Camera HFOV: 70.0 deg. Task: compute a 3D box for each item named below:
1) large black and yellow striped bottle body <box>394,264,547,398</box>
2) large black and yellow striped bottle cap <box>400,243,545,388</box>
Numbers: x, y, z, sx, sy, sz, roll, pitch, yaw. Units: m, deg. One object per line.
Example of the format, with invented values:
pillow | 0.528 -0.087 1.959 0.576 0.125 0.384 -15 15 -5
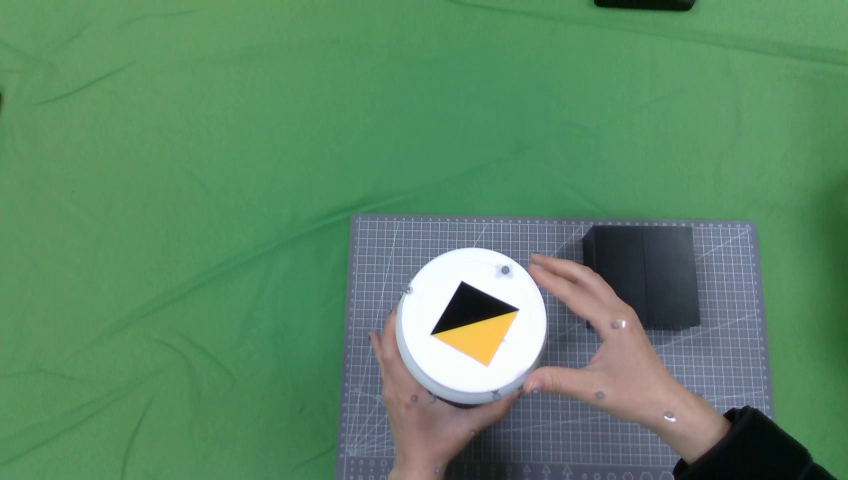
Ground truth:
large black and yellow striped bottle body | 0.041 0.080 0.560 0.131 0.185 0.130 0 76 2
large black and yellow striped bottle cap | 0.038 0.059 0.479 0.115 0.019 0.114 0 78 2
